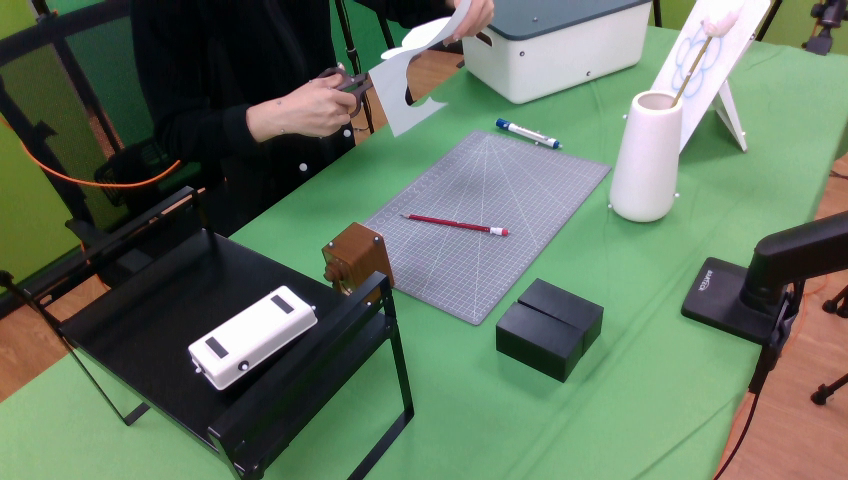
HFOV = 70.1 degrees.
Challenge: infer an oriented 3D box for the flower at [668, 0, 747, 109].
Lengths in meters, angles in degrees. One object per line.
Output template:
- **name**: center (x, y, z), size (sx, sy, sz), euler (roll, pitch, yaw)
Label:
- **flower**: center (0.354, -0.187, 0.879), size (0.038, 0.362, 0.044), euler (30, 48, 14)

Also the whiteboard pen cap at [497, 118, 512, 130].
- **whiteboard pen cap**: center (0.165, -0.235, 1.227), size (0.033, 0.018, 0.018), euler (31, 53, 31)

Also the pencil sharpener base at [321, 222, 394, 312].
- **pencil sharpener base**: center (-0.096, 0.041, 0.873), size (0.061, 0.107, 0.077), euler (26, 54, 32)

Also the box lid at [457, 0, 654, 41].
- **box lid**: center (0.285, -0.522, 1.323), size (0.373, 0.015, 0.261), euler (-22, 43, -16)

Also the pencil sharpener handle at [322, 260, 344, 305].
- **pencil sharpener handle**: center (-0.131, 0.061, 0.839), size (0.035, 0.068, 0.031), euler (29, 56, 27)

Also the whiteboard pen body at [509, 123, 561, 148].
- **whiteboard pen body**: center (0.209, -0.211, 1.195), size (0.139, 0.017, 0.017), euler (30, 52, 33)

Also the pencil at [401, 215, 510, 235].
- **pencil**: center (0.049, -0.027, 1.006), size (0.193, 0.012, 0.012), euler (10, 43, 21)

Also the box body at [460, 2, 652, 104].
- **box body**: center (0.291, -0.465, 1.371), size (0.365, 0.161, 0.252), euler (-22, 42, -16)

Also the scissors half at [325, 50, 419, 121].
- **scissors half**: center (-0.078, -0.234, 0.916), size (0.175, 0.040, 0.013), euler (-33, 14, 20)

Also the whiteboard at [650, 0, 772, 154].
- **whiteboard**: center (0.543, -0.298, 1.076), size (0.144, 0.305, 0.216), euler (12, 40, -7)

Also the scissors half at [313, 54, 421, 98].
- **scissors half**: center (-0.088, -0.252, 0.909), size (0.175, 0.040, 0.013), euler (-12, 25, 13)

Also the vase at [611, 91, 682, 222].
- **vase**: center (0.348, -0.125, 0.935), size (0.098, 0.201, 0.097), euler (-3, 40, 3)

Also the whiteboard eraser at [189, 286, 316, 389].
- **whiteboard eraser**: center (-0.166, 0.096, 0.593), size (0.113, 0.042, 0.055), euler (-36, 47, -29)
